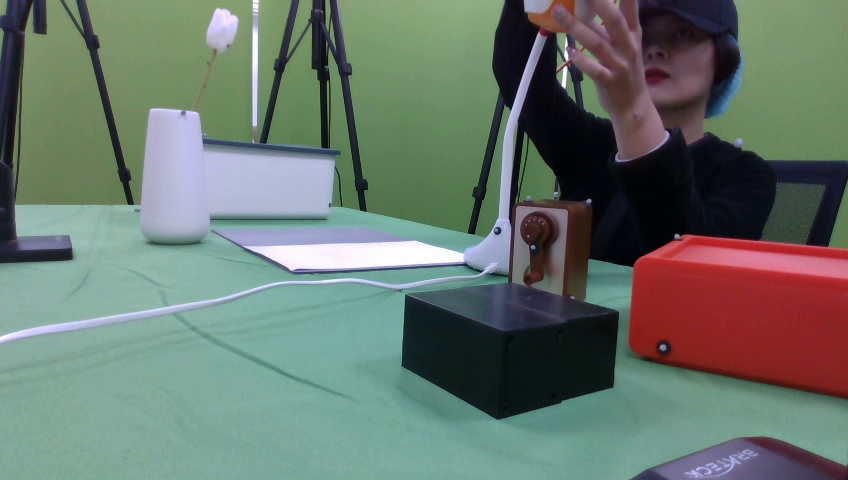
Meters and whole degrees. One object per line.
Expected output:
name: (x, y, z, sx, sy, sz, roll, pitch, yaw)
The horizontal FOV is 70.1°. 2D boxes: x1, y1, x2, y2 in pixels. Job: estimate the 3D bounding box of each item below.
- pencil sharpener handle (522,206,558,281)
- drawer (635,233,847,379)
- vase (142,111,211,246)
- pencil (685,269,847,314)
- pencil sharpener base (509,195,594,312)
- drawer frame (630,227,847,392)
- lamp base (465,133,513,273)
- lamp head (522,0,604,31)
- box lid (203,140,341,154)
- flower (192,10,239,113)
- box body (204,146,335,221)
pencil sharpener handle: (0.102, 0.003, 0.555, 0.036, 0.067, 0.031, 0, 5, 31)
drawer: (0.292, 0.045, 0.488, 0.193, 0.073, 0.213, 7, 9, 30)
vase: (-0.378, -0.093, 0.920, 0.098, 0.200, 0.098, 2, 9, 0)
pencil: (0.308, 0.046, 0.516, 0.194, 0.012, 0.012, 13, 5, -11)
pencil sharpener base: (0.126, 0.011, 0.601, 0.061, 0.107, 0.077, 6, 9, 30)
drawer frame: (0.292, 0.043, 0.484, 0.201, 0.082, 0.214, 7, 9, 29)
lamp base: (0.133, -0.052, 0.809, 0.160, 0.180, 0.180, 6, 12, 26)
lamp head: (0.149, -0.283, 0.630, 0.112, 0.123, 0.112, 13, 18, -4)
box lid: (-0.396, -0.212, 1.373, 0.373, 0.015, 0.262, -1, 9, -29)
flower: (-0.354, -0.174, 0.915, 0.038, 0.361, 0.044, 18, -3, 11)
box body: (-0.411, -0.135, 1.386, 0.366, 0.160, 0.253, -2, 9, -29)
